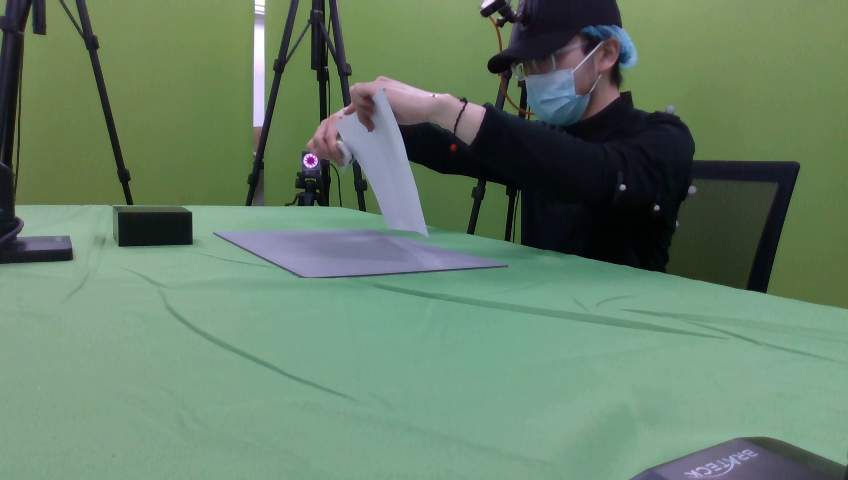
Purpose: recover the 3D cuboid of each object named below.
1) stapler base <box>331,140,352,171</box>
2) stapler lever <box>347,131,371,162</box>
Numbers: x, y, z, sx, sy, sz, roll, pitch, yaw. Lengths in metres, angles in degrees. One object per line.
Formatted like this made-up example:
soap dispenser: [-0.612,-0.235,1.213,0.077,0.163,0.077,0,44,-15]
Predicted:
stapler base: [-0.146,-0.158,1.111,0.024,0.041,0.130,-31,4,-15]
stapler lever: [-0.126,-0.172,1.119,0.040,0.027,0.118,-31,4,-15]
